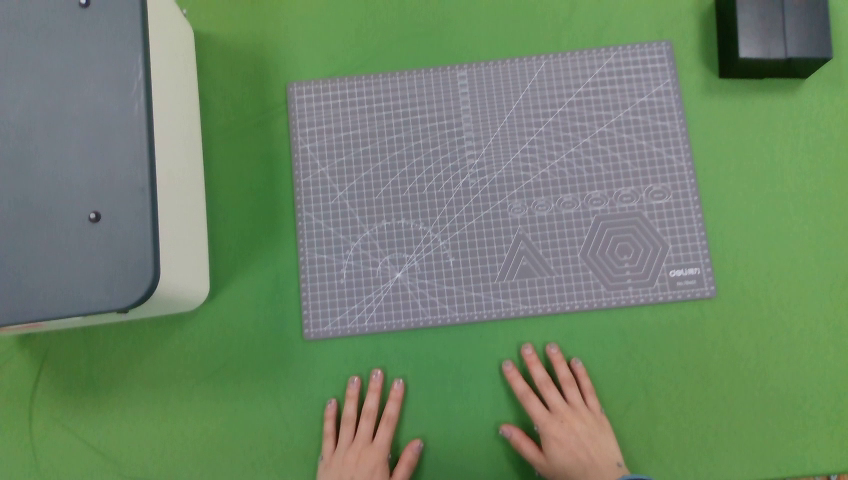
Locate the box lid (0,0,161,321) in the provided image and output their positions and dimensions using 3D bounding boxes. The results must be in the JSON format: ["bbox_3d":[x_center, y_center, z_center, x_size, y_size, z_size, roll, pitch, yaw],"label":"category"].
[{"bbox_3d":[-0.378,-0.112,0.550,0.263,0.015,0.370,-8,81,0],"label":"box lid"}]

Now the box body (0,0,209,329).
[{"bbox_3d":[-0.375,-0.096,0.623,0.254,0.161,0.362,-8,80,0],"label":"box body"}]
